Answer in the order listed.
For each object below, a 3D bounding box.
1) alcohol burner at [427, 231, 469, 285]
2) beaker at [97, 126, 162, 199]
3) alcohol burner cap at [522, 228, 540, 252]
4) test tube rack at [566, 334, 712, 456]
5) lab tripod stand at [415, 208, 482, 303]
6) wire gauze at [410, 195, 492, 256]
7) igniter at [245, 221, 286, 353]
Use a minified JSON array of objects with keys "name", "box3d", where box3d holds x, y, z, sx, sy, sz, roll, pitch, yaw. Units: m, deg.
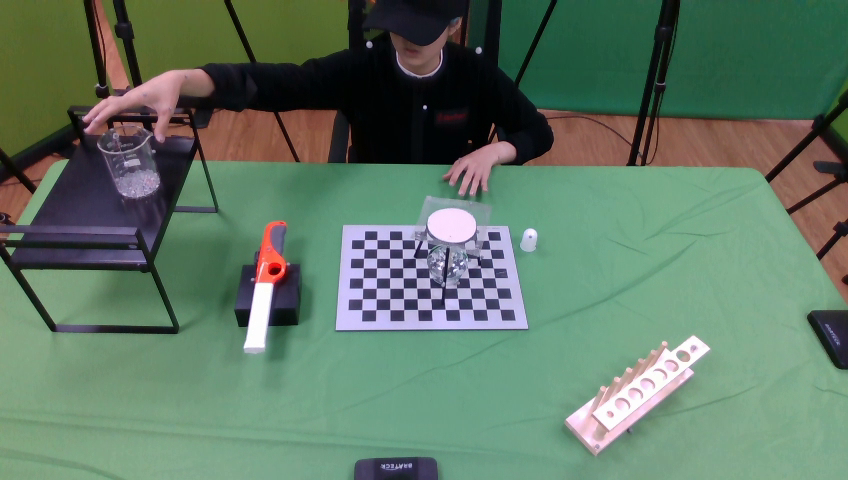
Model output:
[{"name":"alcohol burner","box3d":[0.046,0.027,1.103,0.078,0.119,0.077,3,45,-3]},{"name":"beaker","box3d":[-0.468,-0.124,0.979,0.084,0.101,0.073,-25,53,-26]},{"name":"alcohol burner cap","box3d":[0.214,-0.003,1.198,0.034,0.048,0.033,1,46,-1]},{"name":"test tube rack","box3d":[0.338,0.228,0.950,0.242,0.085,0.066,-27,52,-26]},{"name":"lab tripod stand","box3d":[0.043,0.019,1.097,0.148,0.132,0.147,0,46,0]},{"name":"wire gauze","box3d":[0.049,-0.031,1.051,0.125,0.011,0.121,12,47,10]},{"name":"igniter","box3d":[-0.270,0.070,1.040,0.057,0.025,0.274,2,48,-6]}]
